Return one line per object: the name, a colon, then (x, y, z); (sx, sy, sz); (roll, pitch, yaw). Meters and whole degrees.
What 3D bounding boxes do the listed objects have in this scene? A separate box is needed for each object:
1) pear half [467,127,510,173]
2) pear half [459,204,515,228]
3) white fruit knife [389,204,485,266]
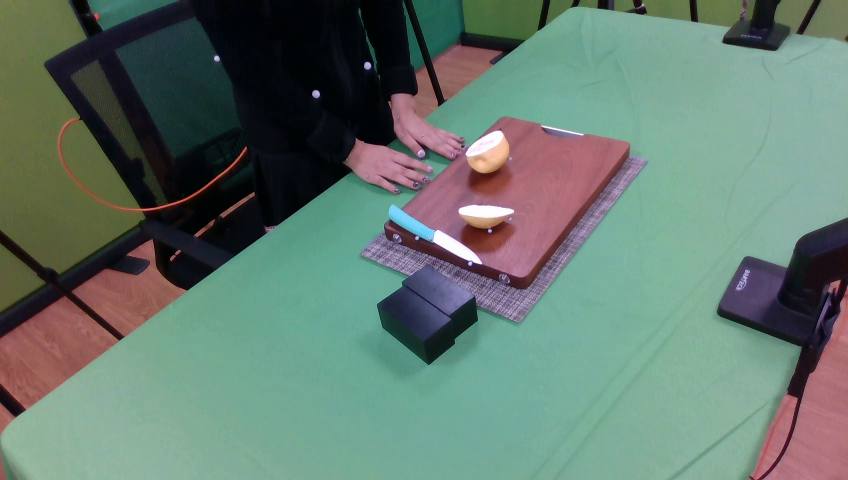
pear half: (0.124, -0.162, 1.079); (0.076, 0.056, 0.110); (-1, 40, 38)
pear half: (0.098, -0.036, 0.953); (0.088, 0.031, 0.070); (4, 25, -4)
white fruit knife: (0.015, -0.008, 0.950); (0.205, 0.016, 0.027); (30, 69, 34)
